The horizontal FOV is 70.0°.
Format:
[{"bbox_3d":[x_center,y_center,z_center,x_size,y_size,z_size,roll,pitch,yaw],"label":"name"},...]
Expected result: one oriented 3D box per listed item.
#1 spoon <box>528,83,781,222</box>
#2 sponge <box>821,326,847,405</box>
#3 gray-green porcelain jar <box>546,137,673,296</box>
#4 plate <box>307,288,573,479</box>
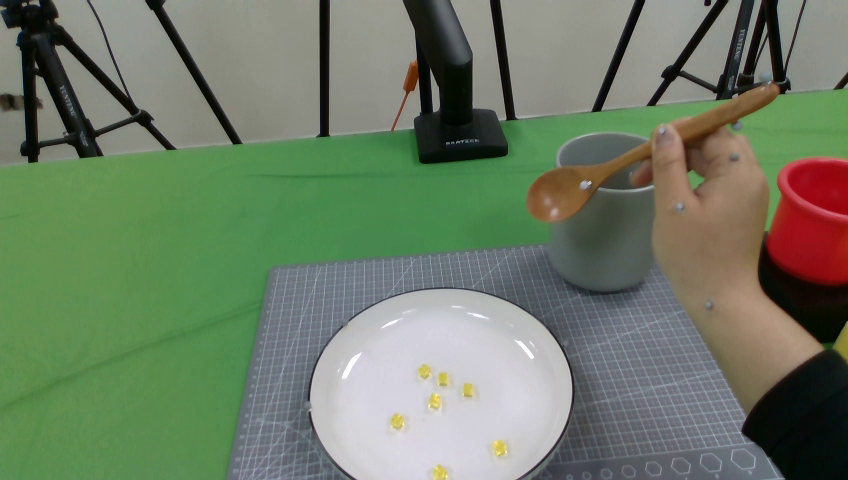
[{"bbox_3d":[0.144,-0.055,0.415,0.022,0.193,0.041,-6,77,-35],"label":"spoon"},{"bbox_3d":[0.402,0.143,0.415,0.118,0.061,0.204,-8,38,-5],"label":"sponge"},{"bbox_3d":[0.172,-0.019,0.581,0.106,0.127,0.105,-3,38,2],"label":"gray-green porcelain jar"},{"bbox_3d":[0.013,0.122,0.488,0.207,0.039,0.205,-2,38,2],"label":"plate"}]
